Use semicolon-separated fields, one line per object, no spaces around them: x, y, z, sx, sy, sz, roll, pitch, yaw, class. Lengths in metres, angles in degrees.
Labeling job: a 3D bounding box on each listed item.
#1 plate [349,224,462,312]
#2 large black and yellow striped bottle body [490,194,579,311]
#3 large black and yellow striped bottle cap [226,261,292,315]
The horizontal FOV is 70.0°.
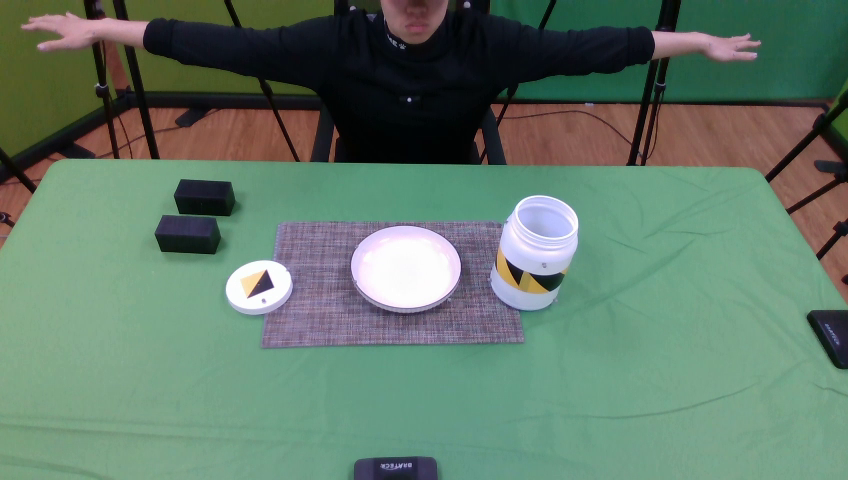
-0.035;0.054;1.126;0.208;0.039;0.206;2;46;-2;plate
0.196;0.022;1.073;0.131;0.185;0.130;4;46;-4;large black and yellow striped bottle body
-0.298;0.085;1.092;0.115;0.019;0.114;0;45;1;large black and yellow striped bottle cap
